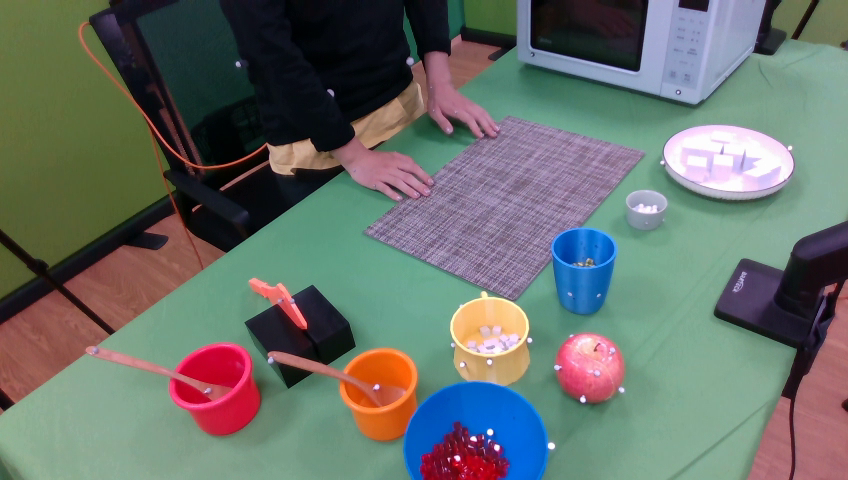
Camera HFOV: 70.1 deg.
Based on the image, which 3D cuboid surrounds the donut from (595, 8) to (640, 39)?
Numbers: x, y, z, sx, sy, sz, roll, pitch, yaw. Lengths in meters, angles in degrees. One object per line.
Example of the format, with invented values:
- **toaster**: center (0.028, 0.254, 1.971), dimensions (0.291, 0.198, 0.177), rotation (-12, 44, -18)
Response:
- **donut**: center (0.436, -0.488, 1.359), dimensions (0.099, 0.048, 0.098), rotation (-11, 34, 9)

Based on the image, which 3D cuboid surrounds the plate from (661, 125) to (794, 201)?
- **plate**: center (0.513, -0.128, 1.035), dimensions (0.207, 0.039, 0.206), rotation (-4, 40, 4)

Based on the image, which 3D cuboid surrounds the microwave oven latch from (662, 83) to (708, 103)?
- **microwave oven latch**: center (0.518, -0.296, 1.204), dimensions (0.078, 0.029, 0.030), rotation (27, 52, 35)

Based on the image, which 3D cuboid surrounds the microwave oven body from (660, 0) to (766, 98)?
- **microwave oven body**: center (0.472, -0.513, 1.317), dimensions (0.438, 0.261, 0.327), rotation (26, 51, 34)

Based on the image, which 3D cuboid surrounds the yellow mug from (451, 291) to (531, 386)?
- **yellow mug**: center (0.085, 0.120, 0.786), dimensions (0.100, 0.064, 0.130), rotation (-7, 39, 1)

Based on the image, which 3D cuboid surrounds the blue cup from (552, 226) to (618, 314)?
- **blue cup**: center (0.218, 0.047, 0.826), dimensions (0.092, 0.101, 0.092), rotation (-6, 40, 5)

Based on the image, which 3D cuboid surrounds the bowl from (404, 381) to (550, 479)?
- **bowl**: center (0.058, 0.235, 0.645), dimensions (0.151, 0.077, 0.150), rotation (-4, 39, 4)

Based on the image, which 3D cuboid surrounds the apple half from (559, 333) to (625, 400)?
- **apple half**: center (0.209, 0.147, 0.730), dimensions (0.080, 0.075, 0.053), rotation (26, 48, 38)

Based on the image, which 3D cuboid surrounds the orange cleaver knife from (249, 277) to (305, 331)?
- **orange cleaver knife**: center (-0.210, 0.088, 0.855), dimensions (0.012, 0.077, 0.210), rotation (-28, 15, -25)

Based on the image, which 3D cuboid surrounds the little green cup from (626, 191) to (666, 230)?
- **little green cup**: center (0.352, -0.046, 0.963), dimensions (0.061, 0.039, 0.061), rotation (-4, 40, 4)

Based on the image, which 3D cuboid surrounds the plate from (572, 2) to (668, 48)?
- **plate**: center (0.441, -0.483, 1.367), dimensions (0.209, 0.038, 0.208), rotation (-4, 41, 4)

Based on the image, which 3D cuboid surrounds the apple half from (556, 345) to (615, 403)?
- **apple half**: center (0.181, 0.167, 0.709), dimensions (0.080, 0.081, 0.033), rotation (29, 50, 35)

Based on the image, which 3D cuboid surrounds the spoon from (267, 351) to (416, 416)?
- **spoon**: center (-0.091, 0.162, 0.699), dimensions (0.021, 0.195, 0.041), rotation (-45, 30, 27)

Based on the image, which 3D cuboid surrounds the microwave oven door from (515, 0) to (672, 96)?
- **microwave oven door**: center (0.343, -0.454, 1.259), dimensions (0.353, 0.245, 0.039), rotation (26, 51, 33)

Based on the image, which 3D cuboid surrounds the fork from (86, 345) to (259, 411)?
- **fork**: center (-0.298, 0.166, 0.728), dimensions (0.209, 0.018, 0.028), rotation (28, 47, -23)
